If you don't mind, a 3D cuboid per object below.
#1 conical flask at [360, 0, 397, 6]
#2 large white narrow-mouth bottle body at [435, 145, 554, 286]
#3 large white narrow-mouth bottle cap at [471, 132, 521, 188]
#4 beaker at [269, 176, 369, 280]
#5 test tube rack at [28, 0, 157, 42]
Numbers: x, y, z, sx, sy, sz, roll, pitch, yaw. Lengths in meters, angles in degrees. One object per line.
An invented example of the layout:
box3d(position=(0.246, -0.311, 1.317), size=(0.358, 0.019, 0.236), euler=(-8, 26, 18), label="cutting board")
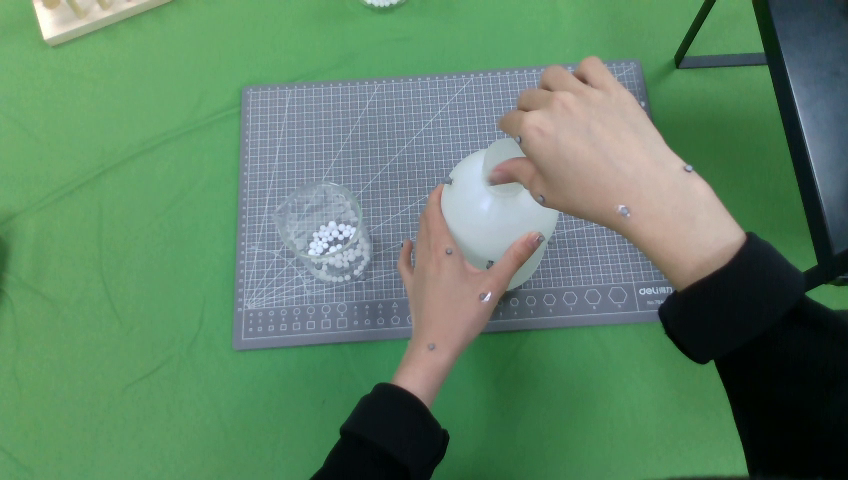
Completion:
box3d(position=(-0.055, -0.329, 0.672), size=(0.075, 0.122, 0.075), euler=(-1, 71, 2), label="conical flask")
box3d(position=(0.061, -0.028, 0.531), size=(0.102, 0.196, 0.101), euler=(-1, 72, 4), label="large white narrow-mouth bottle body")
box3d(position=(0.053, -0.057, 0.441), size=(0.038, 0.024, 0.037), euler=(-1, 72, 4), label="large white narrow-mouth bottle cap")
box3d(position=(-0.095, -0.006, 0.576), size=(0.084, 0.101, 0.073), euler=(7, 71, 5), label="beaker")
box3d(position=(-0.351, -0.323, 0.697), size=(0.242, 0.086, 0.066), euler=(-24, 72, -6), label="test tube rack")
